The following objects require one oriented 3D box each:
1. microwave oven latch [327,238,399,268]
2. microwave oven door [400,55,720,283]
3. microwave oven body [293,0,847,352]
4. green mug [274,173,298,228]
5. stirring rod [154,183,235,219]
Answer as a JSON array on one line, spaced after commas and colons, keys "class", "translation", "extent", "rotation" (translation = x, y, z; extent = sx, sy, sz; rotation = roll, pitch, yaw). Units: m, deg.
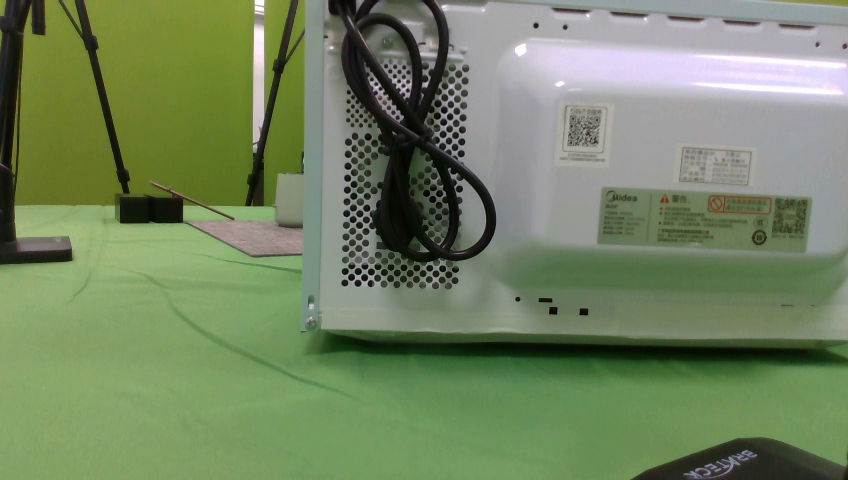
[{"class": "microwave oven latch", "translation": [-0.069, 0.015, 0.694], "extent": [0.079, 0.029, 0.030], "rotation": [3, 7, -2]}, {"class": "microwave oven door", "translation": [0.155, -0.078, 0.697], "extent": [0.356, 0.243, 0.039], "rotation": [2, 8, -5]}, {"class": "microwave oven body", "translation": [0.122, -0.055, 0.550], "extent": [0.442, 0.260, 0.325], "rotation": [3, 7, -5]}, {"class": "green mug", "translation": [-0.242, -0.081, 1.221], "extent": [0.092, 0.105, 0.126], "rotation": [8, 9, 39]}, {"class": "stirring rod", "translation": [-0.472, -0.079, 1.252], "extent": [0.177, 0.006, 0.014], "rotation": [27, 4, -35]}]
